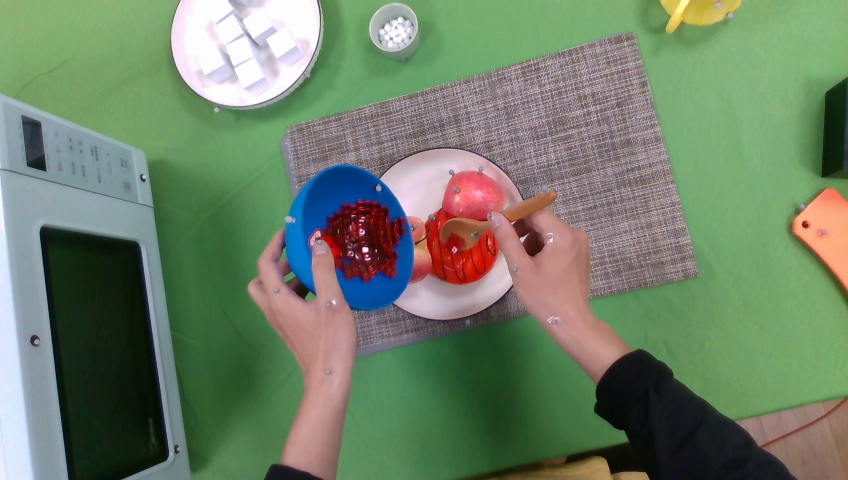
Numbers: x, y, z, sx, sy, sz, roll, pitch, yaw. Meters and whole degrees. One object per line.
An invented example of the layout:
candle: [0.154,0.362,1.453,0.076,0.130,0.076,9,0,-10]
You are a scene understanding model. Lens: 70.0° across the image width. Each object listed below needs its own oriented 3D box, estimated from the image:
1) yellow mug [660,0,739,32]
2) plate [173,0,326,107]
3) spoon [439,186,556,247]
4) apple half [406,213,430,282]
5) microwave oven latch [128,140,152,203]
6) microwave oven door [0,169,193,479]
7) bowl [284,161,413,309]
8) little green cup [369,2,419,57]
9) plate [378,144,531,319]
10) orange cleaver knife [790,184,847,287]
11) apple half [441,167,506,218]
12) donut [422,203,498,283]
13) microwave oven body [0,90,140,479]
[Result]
yellow mug: [0.315,-0.296,0.691,0.099,0.064,0.131,34,92,11]
plate: [-0.225,-0.273,0.795,0.207,0.039,0.207,-1,85,10]
spoon: [0.069,-0.021,0.598,0.042,0.193,0.021,45,67,-12]
apple half: [-0.036,0.010,0.704,0.074,0.054,0.080,-16,79,49]
microwave oven latch: [-0.377,-0.087,0.786,0.030,0.029,0.079,-11,84,8]
microwave oven door: [-0.357,0.118,0.663,0.039,0.244,0.354,-12,83,8]
bowl: [-0.090,0.002,0.622,0.076,0.152,0.151,-17,81,39]
little green cup: [-0.035,-0.262,0.761,0.061,0.039,0.061,-1,85,10]
plate: [0.023,-0.010,0.728,0.209,0.038,0.208,-1,86,10]
orange cleaver knife: [0.482,0.038,0.659,0.077,0.012,0.210,-29,80,1]
apple half: [0.060,-0.062,0.699,0.081,0.033,0.080,1,46,-1]
donut: [0.038,0.002,0.713,0.099,0.048,0.099,0,88,9]
microwave oven body: [-0.505,0.106,0.694,0.326,0.261,0.440,-12,84,8]
